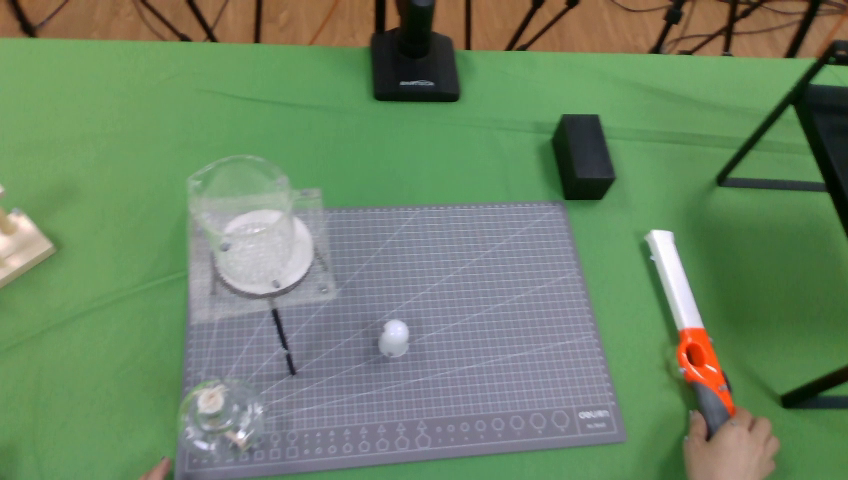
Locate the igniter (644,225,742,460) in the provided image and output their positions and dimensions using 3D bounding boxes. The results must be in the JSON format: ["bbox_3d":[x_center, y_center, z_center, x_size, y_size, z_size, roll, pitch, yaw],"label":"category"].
[{"bbox_3d":[0.303,0.107,0.690,0.057,0.025,0.274,4,61,-20],"label":"igniter"}]

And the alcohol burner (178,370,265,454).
[{"bbox_3d":[-0.185,0.151,0.548,0.078,0.120,0.077,4,60,-7],"label":"alcohol burner"}]

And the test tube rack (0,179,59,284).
[{"bbox_3d":[-0.501,0.038,0.585,0.066,0.086,0.242,42,64,15],"label":"test tube rack"}]

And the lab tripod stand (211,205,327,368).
[{"bbox_3d":[-0.150,0.040,0.601,0.149,0.132,0.147,4,62,-7],"label":"lab tripod stand"}]

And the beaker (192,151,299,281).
[{"bbox_3d":[-0.144,-0.016,0.501,0.084,0.101,0.073,21,61,3],"label":"beaker"}]

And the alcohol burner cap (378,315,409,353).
[{"bbox_3d":[-0.031,0.098,0.639,0.034,0.048,0.033,2,64,-4],"label":"alcohol burner cap"}]

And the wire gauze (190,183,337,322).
[{"bbox_3d":[-0.146,0.005,0.546,0.122,0.011,0.124,-7,67,-10],"label":"wire gauze"}]
